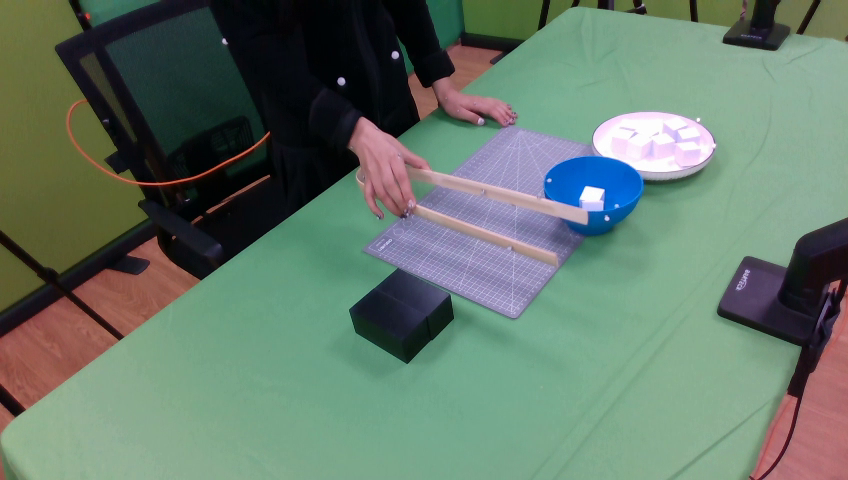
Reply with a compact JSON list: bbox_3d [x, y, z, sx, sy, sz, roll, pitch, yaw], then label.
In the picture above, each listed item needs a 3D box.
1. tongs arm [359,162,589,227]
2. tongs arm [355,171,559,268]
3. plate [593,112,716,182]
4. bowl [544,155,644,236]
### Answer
[{"bbox_3d":[0.060,-0.067,0.913,0.382,0.027,0.051,20,55,32],"label":"tongs arm"},{"bbox_3d":[0.030,-0.035,0.887,0.384,0.028,0.028,23,60,35],"label":"tongs arm"},{"bbox_3d":[0.408,-0.163,1.084,0.207,0.039,0.206,-4,40,4],"label":"plate"},{"bbox_3d":[0.266,-0.061,0.957,0.151,0.077,0.150,-5,41,5],"label":"bowl"}]
